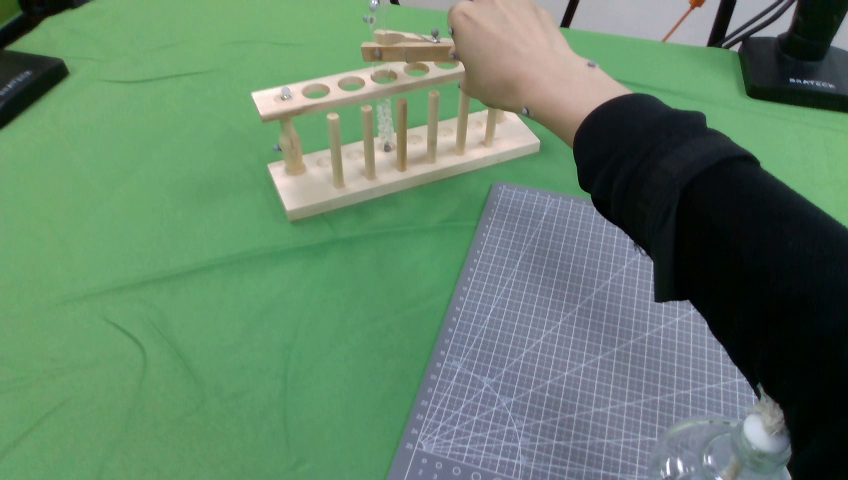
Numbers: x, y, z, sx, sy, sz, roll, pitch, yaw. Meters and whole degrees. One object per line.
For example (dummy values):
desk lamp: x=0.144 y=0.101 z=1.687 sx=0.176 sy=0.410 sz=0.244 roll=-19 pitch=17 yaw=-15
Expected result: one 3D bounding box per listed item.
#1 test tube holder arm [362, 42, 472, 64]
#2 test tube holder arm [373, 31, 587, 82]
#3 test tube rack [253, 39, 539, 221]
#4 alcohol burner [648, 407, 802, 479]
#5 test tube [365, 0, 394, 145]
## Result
test tube holder arm: x=-0.005 y=-0.146 z=0.474 sx=0.087 sy=0.015 sz=0.010 roll=3 pitch=45 yaw=12
test tube holder arm: x=0.037 y=-0.141 z=0.462 sx=0.177 sy=0.015 sz=0.013 roll=16 pitch=50 yaw=24
test tube rack: x=-0.014 y=-0.100 z=0.531 sx=0.243 sy=0.086 sz=0.066 roll=-17 pitch=49 yaw=-17
alcohol burner: x=0.157 y=0.115 z=0.305 sx=0.078 sy=0.120 sz=0.077 roll=0 pitch=48 yaw=1
test tube: x=-0.037 y=-0.143 z=0.502 sx=0.017 sy=0.151 sz=0.017 roll=-1 pitch=44 yaw=1
